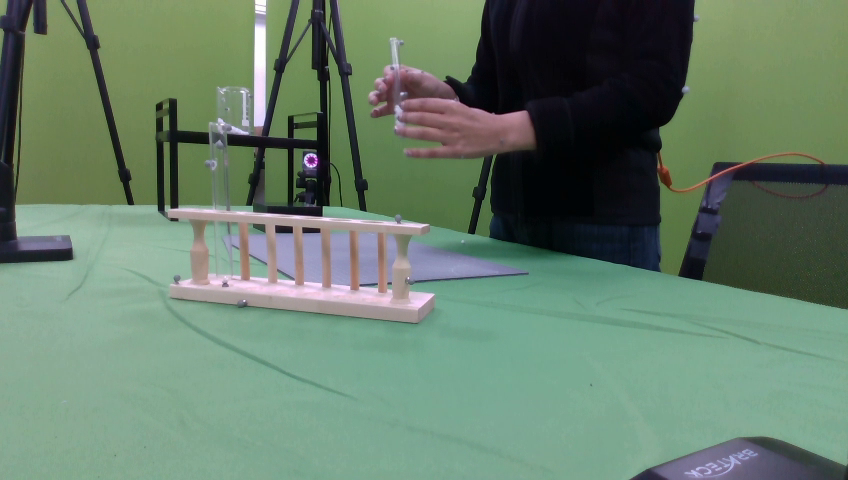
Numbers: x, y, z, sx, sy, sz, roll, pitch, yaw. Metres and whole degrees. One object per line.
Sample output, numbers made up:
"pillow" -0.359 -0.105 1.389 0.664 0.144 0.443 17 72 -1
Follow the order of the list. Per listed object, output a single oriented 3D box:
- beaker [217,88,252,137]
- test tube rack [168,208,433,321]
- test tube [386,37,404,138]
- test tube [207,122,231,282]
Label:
"beaker" -0.412 -0.276 1.310 0.074 0.100 0.084 4 8 16
"test tube rack" -0.116 0.018 0.574 0.242 0.085 0.067 4 8 13
"test tube" -0.044 -0.230 0.912 0.017 0.150 0.017 -5 2 0
"test tube" -0.191 -0.034 0.565 0.017 0.150 0.017 1 11 0
